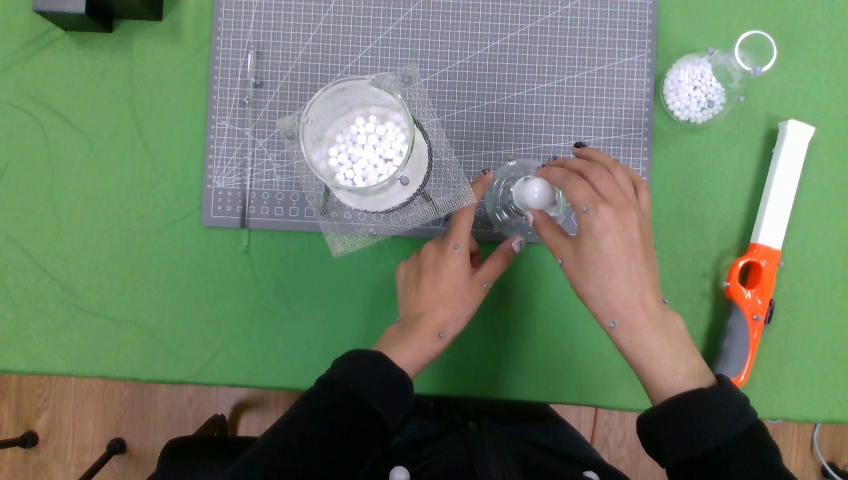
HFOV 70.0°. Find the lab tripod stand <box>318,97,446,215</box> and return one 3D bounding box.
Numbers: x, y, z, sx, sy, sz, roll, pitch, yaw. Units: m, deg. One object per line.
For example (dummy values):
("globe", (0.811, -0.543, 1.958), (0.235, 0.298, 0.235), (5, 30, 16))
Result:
("lab tripod stand", (-0.042, -0.065, 0.548), (0.148, 0.131, 0.148), (0, 91, 0))

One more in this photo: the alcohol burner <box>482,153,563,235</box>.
("alcohol burner", (0.093, -0.044, 0.558), (0.078, 0.119, 0.078), (0, 87, 2))

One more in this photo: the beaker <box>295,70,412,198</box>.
("beaker", (-0.044, -0.071, 0.435), (0.074, 0.100, 0.084), (25, 89, 0))

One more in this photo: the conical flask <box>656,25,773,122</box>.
("conical flask", (0.271, -0.158, 0.559), (0.075, 0.122, 0.075), (0, 88, 1))

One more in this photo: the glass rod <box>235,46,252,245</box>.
("glass rod", (-0.181, -0.094, 0.610), (0.008, 0.008, 0.199), (4, 92, 0))

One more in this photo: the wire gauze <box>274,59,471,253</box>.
("wire gauze", (-0.041, -0.066, 0.483), (0.125, 0.011, 0.121), (-23, 92, -2))

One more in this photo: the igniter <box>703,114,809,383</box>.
("igniter", (0.331, 0.011, 0.604), (0.057, 0.025, 0.276), (16, 89, -10))

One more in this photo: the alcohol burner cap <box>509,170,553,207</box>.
("alcohol burner cap", (0.094, -0.044, 0.518), (0.034, 0.047, 0.034), (-1, 95, -7))
